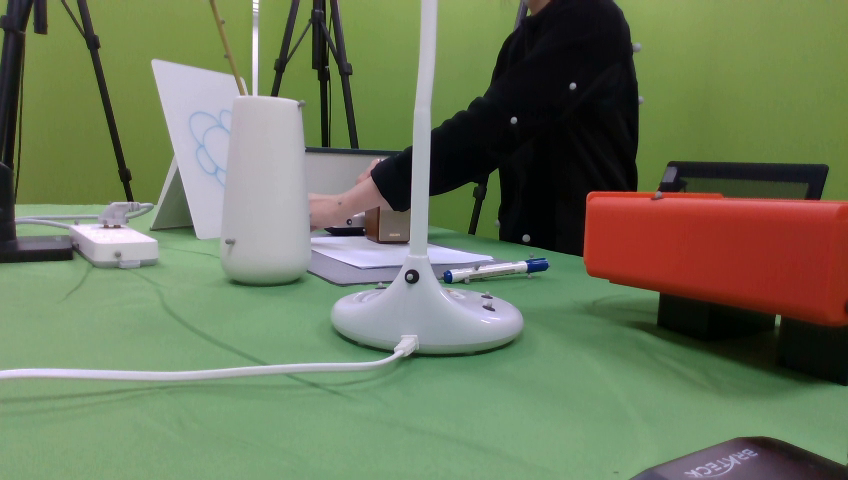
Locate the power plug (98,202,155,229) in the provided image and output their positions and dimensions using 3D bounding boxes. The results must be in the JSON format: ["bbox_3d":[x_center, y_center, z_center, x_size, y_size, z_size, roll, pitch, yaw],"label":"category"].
[{"bbox_3d":[-0.416,-0.027,0.848,0.073,0.052,0.035,0,8,-28],"label":"power plug"}]

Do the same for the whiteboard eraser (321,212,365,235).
[{"bbox_3d":[-0.128,-0.031,1.108,0.113,0.042,0.055,-3,8,-38],"label":"whiteboard eraser"}]

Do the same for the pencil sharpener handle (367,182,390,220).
[{"bbox_3d":[-0.086,-0.070,1.074,0.036,0.067,0.030,11,2,-26],"label":"pencil sharpener handle"}]

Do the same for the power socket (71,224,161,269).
[{"bbox_3d":[-0.408,0.004,0.793,0.072,0.032,0.225,-2,8,-38],"label":"power socket"}]

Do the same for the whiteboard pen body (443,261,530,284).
[{"bbox_3d":[0.087,0.037,0.734,0.141,0.017,0.017,-6,11,-27],"label":"whiteboard pen body"}]

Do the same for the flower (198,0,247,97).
[{"bbox_3d":[-0.187,-0.133,0.648,0.038,0.362,0.044,-1,22,43],"label":"flower"}]

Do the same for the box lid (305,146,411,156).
[{"bbox_3d":[-0.229,-0.200,1.360,0.373,0.015,0.262,-3,9,-33],"label":"box lid"}]

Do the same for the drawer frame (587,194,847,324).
[{"bbox_3d":[0.285,0.004,0.508,0.203,0.082,0.212,-1,6,-29],"label":"drawer frame"}]

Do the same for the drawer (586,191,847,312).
[{"bbox_3d":[0.281,0.001,0.513,0.195,0.073,0.210,-1,8,-29],"label":"drawer"}]

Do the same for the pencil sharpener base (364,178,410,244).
[{"bbox_3d":[-0.062,-0.051,1.031,0.061,0.107,0.076,-1,8,-25],"label":"pencil sharpener base"}]

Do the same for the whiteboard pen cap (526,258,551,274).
[{"bbox_3d":[0.141,0.033,0.758,0.033,0.018,0.018,-8,11,-26],"label":"whiteboard pen cap"}]

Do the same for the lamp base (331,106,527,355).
[{"bbox_3d":[0.006,-0.012,0.478,0.161,0.180,0.179,2,10,2],"label":"lamp base"}]

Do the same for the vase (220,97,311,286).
[{"bbox_3d":[-0.172,-0.052,0.662,0.098,0.200,0.098,3,8,0],"label":"vase"}]

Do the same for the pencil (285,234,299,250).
[{"bbox_3d":[-0.209,0.001,0.969,0.012,0.012,0.193,1,5,-8],"label":"pencil"}]

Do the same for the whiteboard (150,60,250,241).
[{"bbox_3d":[-0.408,-0.139,1.093,0.143,0.305,0.218,-15,-1,26],"label":"whiteboard"}]

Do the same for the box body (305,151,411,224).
[{"bbox_3d":[-0.230,-0.126,1.371,0.366,0.160,0.253,-2,8,-33],"label":"box body"}]
